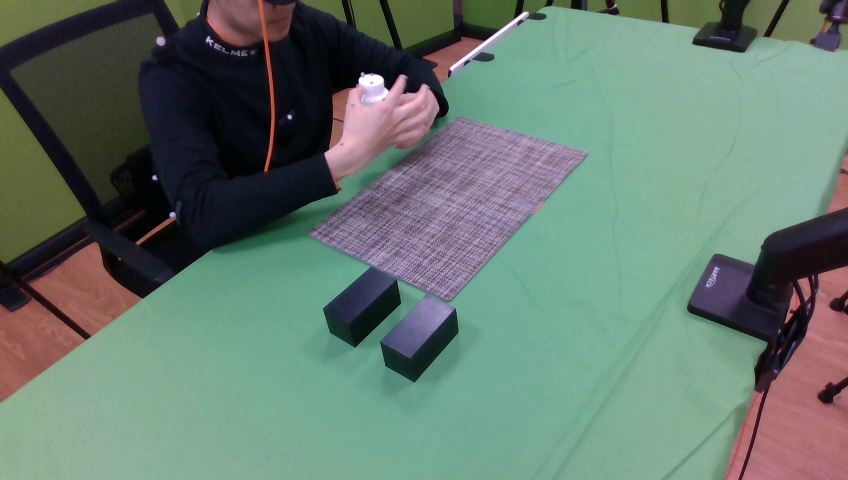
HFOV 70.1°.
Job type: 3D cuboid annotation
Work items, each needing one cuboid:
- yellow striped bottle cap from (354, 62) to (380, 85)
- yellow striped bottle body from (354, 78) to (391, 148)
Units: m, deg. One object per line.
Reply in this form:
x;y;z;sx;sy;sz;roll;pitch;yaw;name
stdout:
-0.098;-0.286;1.036;0.044;0.019;0.044;1;49;-1;yellow striped bottle cap
-0.092;-0.232;1.087;0.063;0.120;0.062;0;40;0;yellow striped bottle body
